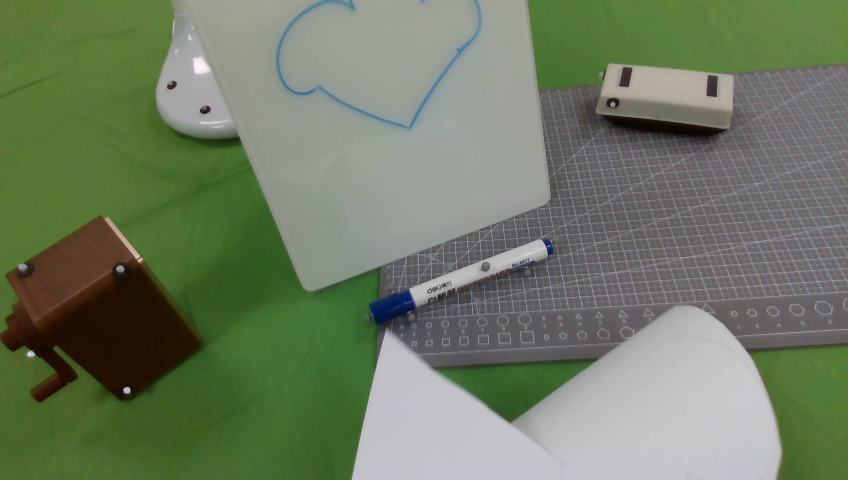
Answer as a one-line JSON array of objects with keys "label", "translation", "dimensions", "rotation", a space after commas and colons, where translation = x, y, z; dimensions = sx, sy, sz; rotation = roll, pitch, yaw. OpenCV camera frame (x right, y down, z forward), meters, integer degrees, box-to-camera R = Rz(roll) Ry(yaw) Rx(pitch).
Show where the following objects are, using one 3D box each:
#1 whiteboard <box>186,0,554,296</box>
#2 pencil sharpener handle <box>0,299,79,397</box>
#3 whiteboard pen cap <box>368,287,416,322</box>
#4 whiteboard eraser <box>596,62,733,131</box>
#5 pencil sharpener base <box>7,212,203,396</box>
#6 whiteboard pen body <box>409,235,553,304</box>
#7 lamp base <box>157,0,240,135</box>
[{"label": "whiteboard", "translation": [-0.045, -0.150, 0.463], "dimensions": [0.217, 0.308, 0.142], "rotation": [-20, 32, -8]}, {"label": "pencil sharpener handle", "translation": [-0.250, 0.071, 0.383], "dimensions": [0.030, 0.068, 0.035], "rotation": [-39, 44, -22]}, {"label": "whiteboard pen cap", "translation": [-0.023, 0.047, 0.444], "dimensions": [0.033, 0.018, 0.018], "rotation": [-22, 52, -9]}, {"label": "whiteboard eraser", "translation": [0.215, -0.128, 0.544], "dimensions": [0.112, 0.042, 0.055], "rotation": [11, 54, 15]}, {"label": "pencil sharpener base", "translation": [-0.214, 0.048, 0.414], "dimensions": [0.076, 0.108, 0.061], "rotation": [-38, 57, -22]}, {"label": "whiteboard pen body", "translation": [0.032, 0.026, 0.453], "dimensions": [0.141, 0.017, 0.017], "rotation": [-20, 52, -9]}, {"label": "lamp base", "translation": [-0.215, -0.220, 0.580], "dimensions": [0.177, 0.182, 0.160], "rotation": [30, 61, 30]}]
